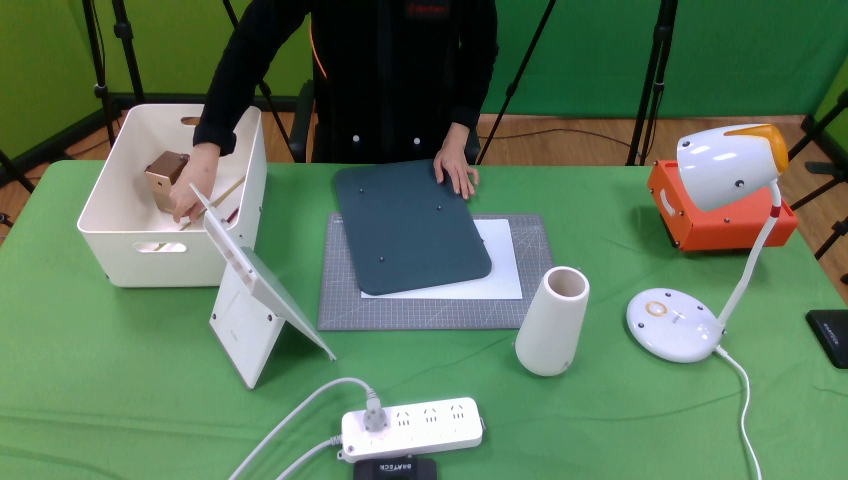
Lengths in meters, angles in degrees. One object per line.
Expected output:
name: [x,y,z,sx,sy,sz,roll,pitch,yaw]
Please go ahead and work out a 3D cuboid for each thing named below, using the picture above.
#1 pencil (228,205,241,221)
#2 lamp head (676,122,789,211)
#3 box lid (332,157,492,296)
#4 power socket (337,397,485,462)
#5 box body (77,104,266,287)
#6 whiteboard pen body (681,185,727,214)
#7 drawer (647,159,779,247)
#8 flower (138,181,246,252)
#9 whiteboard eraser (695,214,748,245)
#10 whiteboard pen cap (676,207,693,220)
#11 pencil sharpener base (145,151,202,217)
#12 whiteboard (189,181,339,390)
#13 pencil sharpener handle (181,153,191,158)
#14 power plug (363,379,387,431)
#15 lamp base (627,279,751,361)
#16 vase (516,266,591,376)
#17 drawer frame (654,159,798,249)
pencil: [-0.403,-0.009,1.176,0.012,0.012,0.193,14,44,9]
lamp head: [0.423,-0.104,0.819,0.122,0.113,0.112,-13,33,40]
box lid: [-0.034,-0.041,1.241,0.264,0.015,0.369,-9,47,-12]
power socket: [-0.018,0.285,0.915,0.227,0.033,0.071,-5,46,-8]
box body: [-0.447,-0.088,1.150,0.254,0.161,0.361,-1,46,-5]
whiteboard pen body: [0.571,-0.081,1.238,0.141,0.017,0.017,-26,54,-24]
drawer: [0.582,-0.078,1.215,0.212,0.073,0.193,-1,46,-6]
flower: [-0.442,-0.044,1.193,0.044,0.038,0.361,45,48,-6]
whiteboard eraser: [0.592,-0.019,1.209,0.113,0.042,0.055,11,27,-36]
whiteboard pen cap: [0.524,-0.053,1.216,0.033,0.018,0.018,-28,54,-23]
pencil sharpener base: [-0.491,-0.112,1.199,0.061,0.107,0.076,15,47,12]
whiteboard: [-0.292,0.096,0.929,0.144,0.307,0.216,-37,57,-10]
pencil sharpener handle: [-0.478,-0.156,1.225,0.036,0.068,0.030,23,48,3]
power plug: [-0.072,0.252,0.910,0.035,0.053,0.072,3,45,-1]
lamp base: [0.459,0.100,1.027,0.178,0.181,0.160,27,51,17]
vase: [0.208,0.132,0.964,0.098,0.201,0.097,3,46,-3]
drawer frame: [0.588,-0.077,1.219,0.214,0.083,0.200,-2,45,-5]
